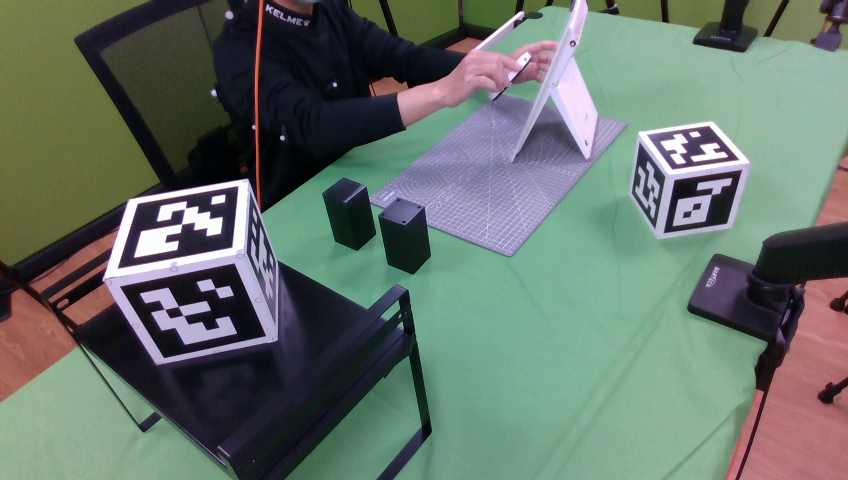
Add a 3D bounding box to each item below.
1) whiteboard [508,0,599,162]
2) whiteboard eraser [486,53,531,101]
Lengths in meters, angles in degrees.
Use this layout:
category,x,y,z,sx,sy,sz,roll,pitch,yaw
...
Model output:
category,x,y,z,sx,sy,sz,roll,pitch,yaw
whiteboard,0.285,-0.289,1.090,0.144,0.305,0.217,22,45,3
whiteboard eraser,0.151,-0.293,1.084,0.101,0.019,0.041,-46,13,18
